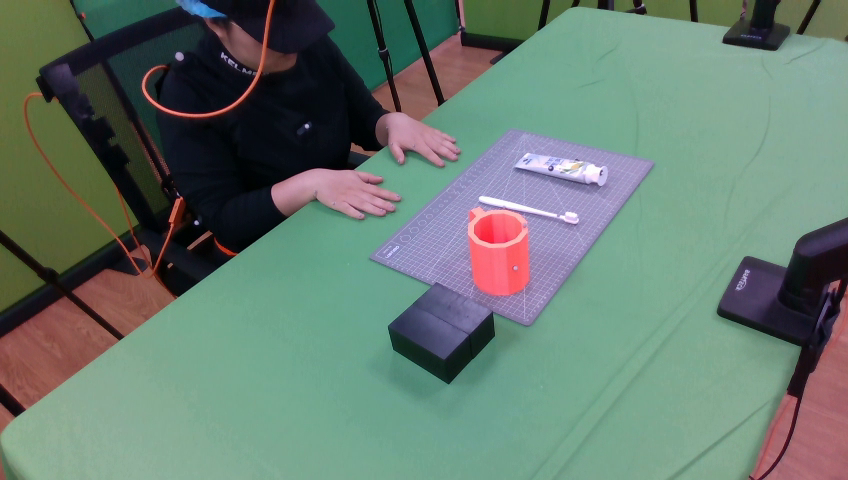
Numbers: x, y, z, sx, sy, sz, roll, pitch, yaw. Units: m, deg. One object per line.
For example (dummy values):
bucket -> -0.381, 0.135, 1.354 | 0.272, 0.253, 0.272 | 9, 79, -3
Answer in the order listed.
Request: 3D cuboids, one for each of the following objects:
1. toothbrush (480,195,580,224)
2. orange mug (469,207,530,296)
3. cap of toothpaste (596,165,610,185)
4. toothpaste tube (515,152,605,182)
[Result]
toothbrush -> 0.175, -0.054, 1.016 | 0.180, 0.017, 0.014 | 15, 59, 29
orange mug -> 0.104, 0.008, 0.894 | 0.084, 0.101, 0.125 | -22, 46, -14
cap of toothpaste -> 0.307, -0.113, 1.041 | 0.011, 0.037, 0.037 | 20, 48, 39
toothpaste tube -> 0.248, -0.133, 1.087 | 0.164, 0.034, 0.055 | 17, 42, 35
